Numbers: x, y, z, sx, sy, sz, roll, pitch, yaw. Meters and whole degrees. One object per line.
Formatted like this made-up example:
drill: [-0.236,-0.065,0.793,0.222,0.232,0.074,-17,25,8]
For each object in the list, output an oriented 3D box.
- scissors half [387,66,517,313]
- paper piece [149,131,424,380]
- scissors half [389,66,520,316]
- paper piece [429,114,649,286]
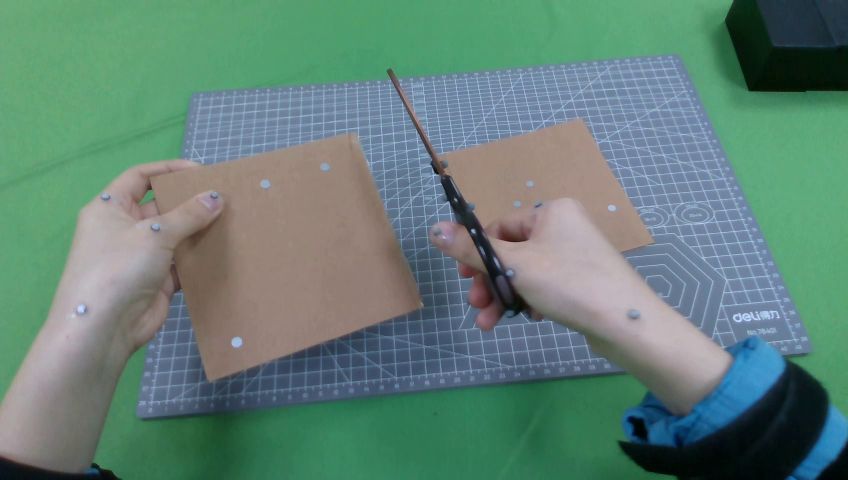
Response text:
scissors half: [0.012,-0.037,0.353,0.013,0.040,0.173,-26,66,1]
paper piece: [-0.088,0.001,0.384,0.138,0.009,0.135,-17,70,-15]
scissors half: [0.016,-0.033,0.372,0.013,0.040,0.174,-27,83,7]
paper piece: [0.087,-0.037,0.477,0.136,0.004,0.134,-14,59,-7]
